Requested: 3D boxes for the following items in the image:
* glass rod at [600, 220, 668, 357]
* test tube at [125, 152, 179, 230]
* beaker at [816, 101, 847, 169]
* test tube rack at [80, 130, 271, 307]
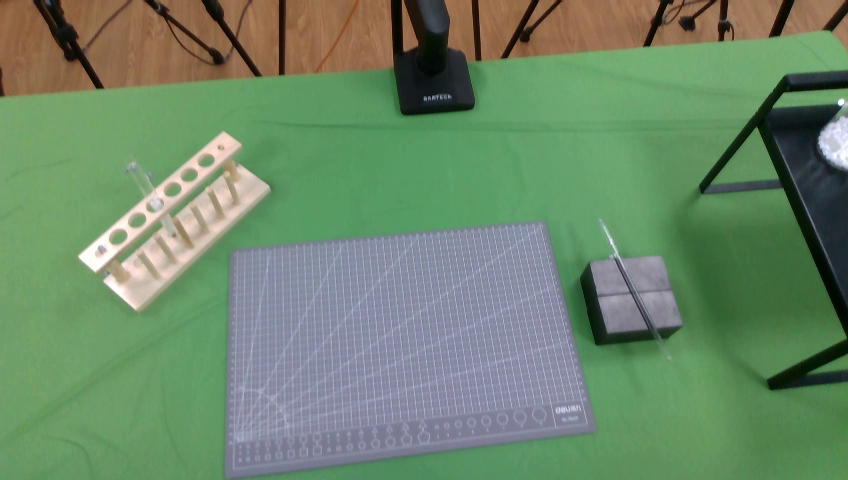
[{"bbox_3d":[0.271,0.059,0.788,0.008,0.008,0.198,-14,65,-9],"label":"glass rod"},{"bbox_3d":[-0.342,-0.058,0.769,0.017,0.151,0.017,0,57,0],"label":"test tube"},{"bbox_3d":[0.513,-0.136,0.699,0.074,0.101,0.083,-27,67,-16],"label":"beaker"},{"bbox_3d":[-0.322,-0.031,0.813,0.066,0.086,0.242,36,67,15],"label":"test tube rack"}]
